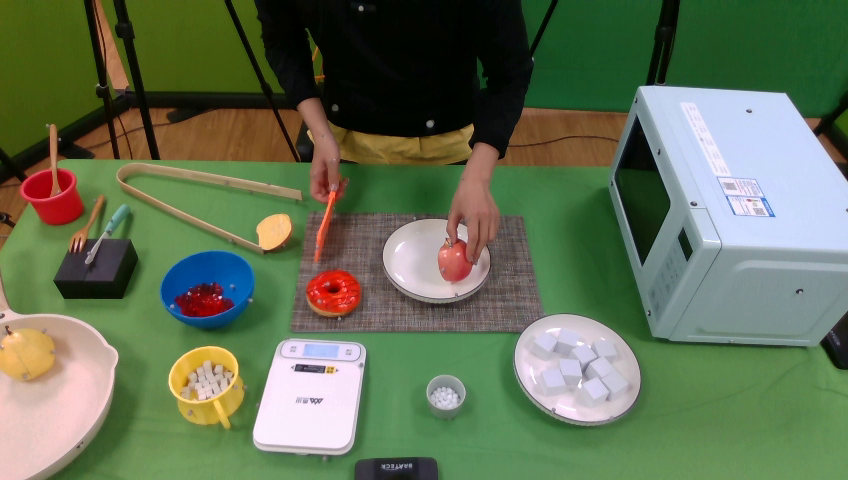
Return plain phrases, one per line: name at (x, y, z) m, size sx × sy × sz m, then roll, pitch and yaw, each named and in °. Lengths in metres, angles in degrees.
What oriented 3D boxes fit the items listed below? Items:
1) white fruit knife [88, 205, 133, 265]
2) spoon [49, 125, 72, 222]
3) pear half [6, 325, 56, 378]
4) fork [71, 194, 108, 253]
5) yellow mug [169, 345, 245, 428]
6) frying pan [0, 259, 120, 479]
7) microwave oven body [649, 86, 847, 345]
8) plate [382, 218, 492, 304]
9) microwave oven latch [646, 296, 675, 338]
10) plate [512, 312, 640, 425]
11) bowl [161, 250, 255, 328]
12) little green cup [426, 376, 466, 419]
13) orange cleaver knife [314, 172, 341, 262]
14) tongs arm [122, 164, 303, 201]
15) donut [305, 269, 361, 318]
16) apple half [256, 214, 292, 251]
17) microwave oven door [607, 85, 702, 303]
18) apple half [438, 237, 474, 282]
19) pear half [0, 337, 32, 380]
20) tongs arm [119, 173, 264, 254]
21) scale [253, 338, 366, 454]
white fruit knife at (-0.583, -0.013, 1.129) m, size 0.016 × 0.027 × 0.206 m, roll -1°, pitch 32°, yaw -4°
spoon at (-0.718, -0.131, 1.189) m, size 0.041 × 0.021 × 0.193 m, roll -3°, pitch 90°, yaw -7°
pear half at (-0.608, 0.158, 0.935) m, size 0.076 × 0.110 × 0.056 m, roll 31°, pitch 51°, yaw 20°
fork at (-0.634, -0.036, 1.158) m, size 0.028 × 0.019 × 0.206 m, roll -8°, pitch 31°, yaw -8°
yellow mug at (-0.322, 0.230, 0.922) m, size 0.100 × 0.064 × 0.130 m, roll -24°, pitch 53°, yaw -25°
frying pan at (-0.647, 0.164, 0.936) m, size 0.307 × 0.103 × 0.485 m, roll -19°, pitch 58°, yaw -22°
microwave oven body at (0.568, -0.053, 1.118) m, size 0.326 × 0.261 × 0.439 m, roll 2°, pitch 45°, yaw -1°
plate at (0.023, 0.042, 1.143) m, size 0.209 × 0.038 × 0.208 m, roll 2°, pitch 46°, yaw -2°
microwave oven latch at (0.412, 0.134, 1.061) m, size 0.030 × 0.029 × 0.078 m, roll 4°, pitch 45°, yaw 1°
plate at (0.246, 0.213, 0.999) m, size 0.208 × 0.039 × 0.206 m, roll 2°, pitch 46°, yaw -2°
bowl at (-0.362, 0.097, 1.039) m, size 0.151 × 0.077 × 0.150 m, roll 2°, pitch 45°, yaw -2°
little green cup at (0.033, 0.248, 0.950) m, size 0.061 × 0.039 × 0.061 m, roll 2°, pitch 46°, yaw -2°
orange cleaver knife at (-0.189, -0.048, 1.188) m, size 0.012 × 0.077 × 0.210 m, roll 12°, pitch 46°, yaw -4°
tongs arm at (-0.444, -0.113, 1.268) m, size 0.384 × 0.026 × 0.050 m, roll 12°, pitch 50°, yaw 8°
donut at (-0.161, 0.094, 1.075) m, size 0.099 × 0.048 × 0.098 m, roll 4°, pitch 45°, yaw -4°
apple half at (-0.285, -0.011, 1.176) m, size 0.081 × 0.033 × 0.081 m, roll -10°, pitch 60°, yaw 18°
microwave oven door at (0.423, -0.094, 1.140) m, size 0.039 × 0.245 × 0.353 m, roll 2°, pitch 46°, yaw -1°
apple half at (0.063, 0.036, 1.103) m, size 0.053 × 0.075 × 0.080 m, roll -2°, pitch 21°, yaw 21°
pear half at (-0.631, 0.184, 0.921) m, size 0.070 × 0.088 × 0.031 m, roll 29°, pitch 49°, yaw 19°
tongs arm at (-0.474, -0.054, 1.213) m, size 0.386 × 0.028 × 0.028 m, roll 23°, pitch 56°, yaw 18°
scale at (-0.175, 0.236, 0.951) m, size 0.149 × 0.032 × 0.199 m, roll 5°, pitch 45°, yaw -1°
